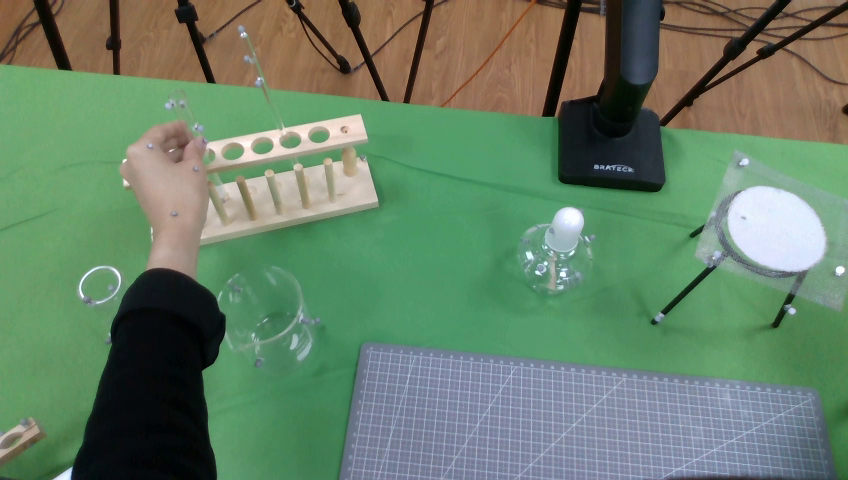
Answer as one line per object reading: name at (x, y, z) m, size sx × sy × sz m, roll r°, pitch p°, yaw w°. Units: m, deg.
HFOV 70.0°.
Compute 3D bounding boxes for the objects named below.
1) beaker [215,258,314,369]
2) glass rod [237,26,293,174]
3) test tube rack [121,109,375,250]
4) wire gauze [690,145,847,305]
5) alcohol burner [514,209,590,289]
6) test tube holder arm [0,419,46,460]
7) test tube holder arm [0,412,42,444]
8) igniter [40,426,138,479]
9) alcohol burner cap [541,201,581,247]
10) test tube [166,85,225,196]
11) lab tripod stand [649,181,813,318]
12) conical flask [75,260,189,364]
beaker at (-0.145, 0.076, 0.563) m, size 0.074 × 0.101 × 0.083 m, roll 19°, pitch 63°, yaw 10°
glass rod at (-0.151, -0.125, 0.603) m, size 0.008 × 0.201 × 0.008 m, roll -2°, pitch 55°, yaw 4°
test tube rack at (-0.179, -0.064, 0.645) m, size 0.243 × 0.086 × 0.066 m, roll -13°, pitch 62°, yaw -9°
wire gauze at (0.308, -0.016, 0.528) m, size 0.121 × 0.011 × 0.124 m, roll 25°, pitch 65°, yaw 10°
alcohol burner at (0.131, 0.001, 0.603) m, size 0.078 × 0.120 × 0.077 m, roll 1°, pitch 60°, yaw -2°
test tube holder arm at (-0.355, 0.178, 0.493) m, size 0.088 × 0.015 × 0.010 m, roll -34°, pitch 67°, yaw -19°
test tube holder arm at (-0.394, 0.199, 0.480) m, size 0.178 × 0.015 × 0.013 m, roll -35°, pitch 67°, yaw -19°
igniter at (-0.353, 0.241, 0.455) m, size 0.276 × 0.025 × 0.057 m, roll -35°, pitch 70°, yaw -22°
alcohol burner cap at (0.131, -0.018, 0.572) m, size 0.034 × 0.048 × 0.033 m, roll 1°, pitch 61°, yaw -1°
test tube at (-0.224, -0.093, 0.602) m, size 0.017 × 0.151 × 0.017 m, roll 1°, pitch 57°, yaw -1°
lab tripod stand at (0.300, 0.017, 0.587) m, size 0.148 × 0.132 × 0.147 m, roll 1°, pitch 61°, yaw -2°
conical flask at (-0.270, 0.062, 0.554) m, size 0.075 × 0.123 × 0.074 m, roll 1°, pitch 61°, yaw -1°
